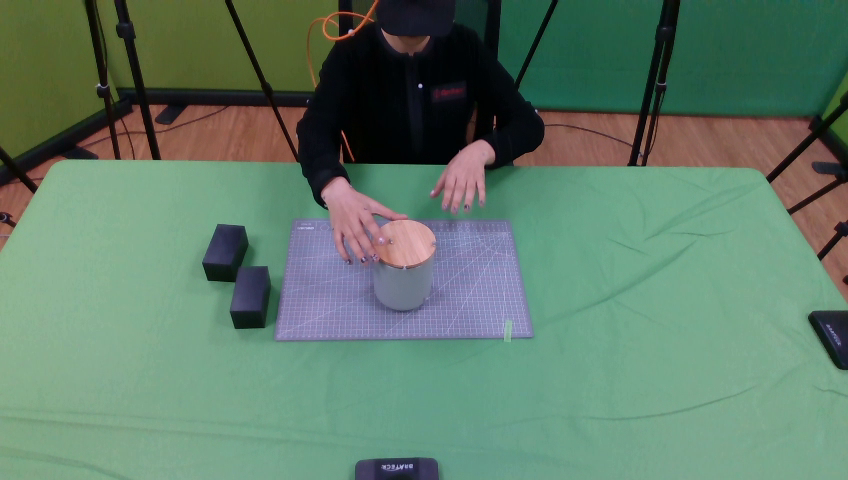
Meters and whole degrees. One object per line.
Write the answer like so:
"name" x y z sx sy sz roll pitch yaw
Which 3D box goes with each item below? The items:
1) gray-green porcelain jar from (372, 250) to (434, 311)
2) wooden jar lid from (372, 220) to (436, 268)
"gray-green porcelain jar" -0.037 0.054 1.067 0.106 0.127 0.105 2 46 -1
"wooden jar lid" -0.034 0.009 1.020 0.108 0.021 0.107 2 47 -2
